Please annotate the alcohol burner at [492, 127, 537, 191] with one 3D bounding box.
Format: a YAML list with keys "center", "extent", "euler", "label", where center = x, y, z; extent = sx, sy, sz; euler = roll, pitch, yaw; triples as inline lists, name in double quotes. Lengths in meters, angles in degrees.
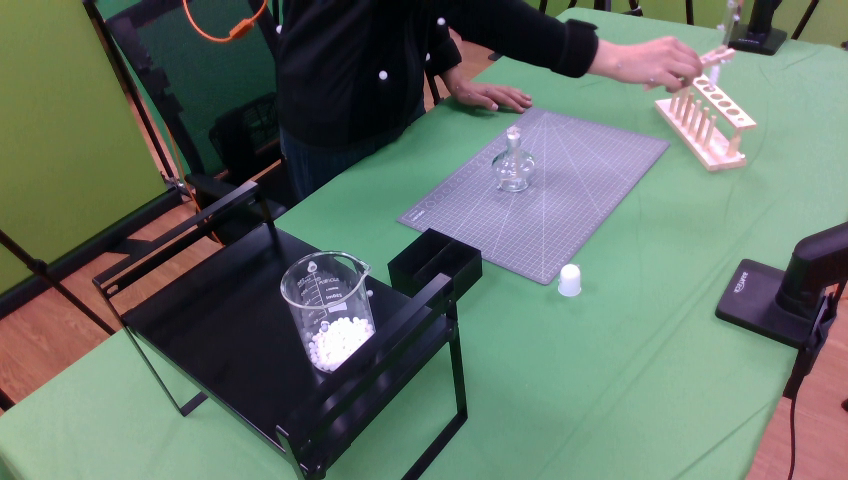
- center: [0.156, -0.146, 1.046]
  extent: [0.078, 0.119, 0.077]
  euler: [-4, 43, 4]
  label: "alcohol burner"

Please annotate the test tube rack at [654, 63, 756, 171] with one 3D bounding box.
- center: [0.511, -0.233, 1.120]
  extent: [0.067, 0.085, 0.241]
  euler: [-9, 41, -1]
  label: "test tube rack"

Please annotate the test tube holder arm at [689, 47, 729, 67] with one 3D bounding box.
- center: [0.467, -0.295, 0.993]
  extent: [0.088, 0.015, 0.010]
  euler: [-29, 47, -20]
  label: "test tube holder arm"

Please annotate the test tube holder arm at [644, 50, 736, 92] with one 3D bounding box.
- center: [0.430, -0.274, 0.976]
  extent: [0.179, 0.015, 0.013]
  euler: [-23, 45, -15]
  label: "test tube holder arm"

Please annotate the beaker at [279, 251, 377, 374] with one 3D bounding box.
- center: [-0.083, 0.070, 0.569]
  extent: [0.084, 0.101, 0.073]
  euler: [-18, 42, -13]
  label: "beaker"

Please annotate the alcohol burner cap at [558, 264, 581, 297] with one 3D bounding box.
- center: [0.209, 0.055, 0.865]
  extent: [0.034, 0.048, 0.033]
  euler: [-5, 40, 4]
  label: "alcohol burner cap"

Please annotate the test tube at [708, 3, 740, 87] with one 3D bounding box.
- center: [0.487, -0.313, 0.984]
  extent: [0.017, 0.151, 0.017]
  euler: [-4, 49, 6]
  label: "test tube"
